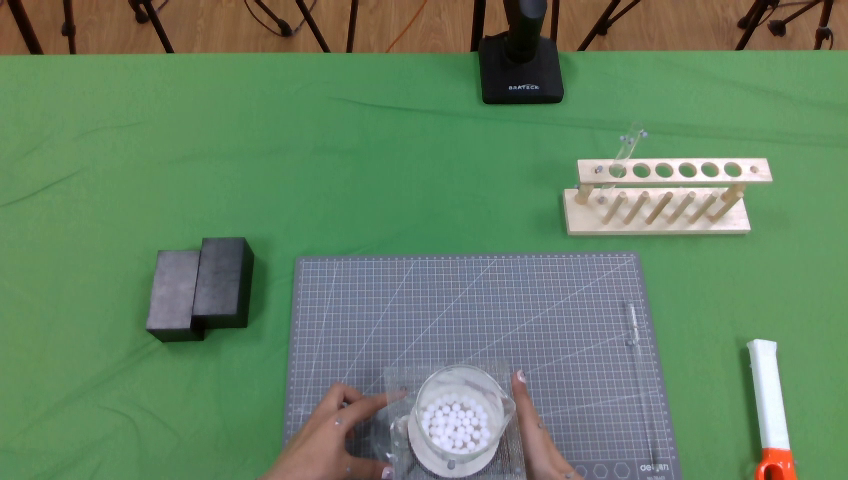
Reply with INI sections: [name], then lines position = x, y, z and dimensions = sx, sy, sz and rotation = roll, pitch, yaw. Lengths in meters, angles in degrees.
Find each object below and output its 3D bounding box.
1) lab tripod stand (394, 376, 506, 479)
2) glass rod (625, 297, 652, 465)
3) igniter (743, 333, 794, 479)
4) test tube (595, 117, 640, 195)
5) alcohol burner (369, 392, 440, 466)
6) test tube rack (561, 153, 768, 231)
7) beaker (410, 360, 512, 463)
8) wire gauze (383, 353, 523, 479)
[lab tripod stand]
position = 0.024, 0.201, 0.633
dimensions = 0.148, 0.132, 0.147
rotation = 0, 64, 1
[glass rod]
position = 0.257, 0.164, 0.726
dimensions = 0.008, 0.008, 0.198
rotation = 0, 68, -2
[igniter]
position = 0.396, 0.241, 0.688
dimensions = 0.057, 0.025, 0.274
rotation = 10, 65, -8
[test tube]
position = 0.238, -0.100, 0.753
dimensions = 0.017, 0.151, 0.017
rotation = 0, 62, 0
[alcohol burner]
position = -0.020, 0.198, 0.644
dimensions = 0.078, 0.120, 0.077
rotation = 1, 64, -2
[test tube rack]
position = 0.311, -0.062, 0.793
dimensions = 0.242, 0.086, 0.066
rotation = -1, 65, -2
[beaker]
position = 0.030, 0.153, 0.529
dimensions = 0.084, 0.101, 0.073
rotation = -6, 64, -4
[wire gauze]
position = 0.025, 0.170, 0.574
dimensions = 0.125, 0.011, 0.120
rotation = -5, 63, -1
